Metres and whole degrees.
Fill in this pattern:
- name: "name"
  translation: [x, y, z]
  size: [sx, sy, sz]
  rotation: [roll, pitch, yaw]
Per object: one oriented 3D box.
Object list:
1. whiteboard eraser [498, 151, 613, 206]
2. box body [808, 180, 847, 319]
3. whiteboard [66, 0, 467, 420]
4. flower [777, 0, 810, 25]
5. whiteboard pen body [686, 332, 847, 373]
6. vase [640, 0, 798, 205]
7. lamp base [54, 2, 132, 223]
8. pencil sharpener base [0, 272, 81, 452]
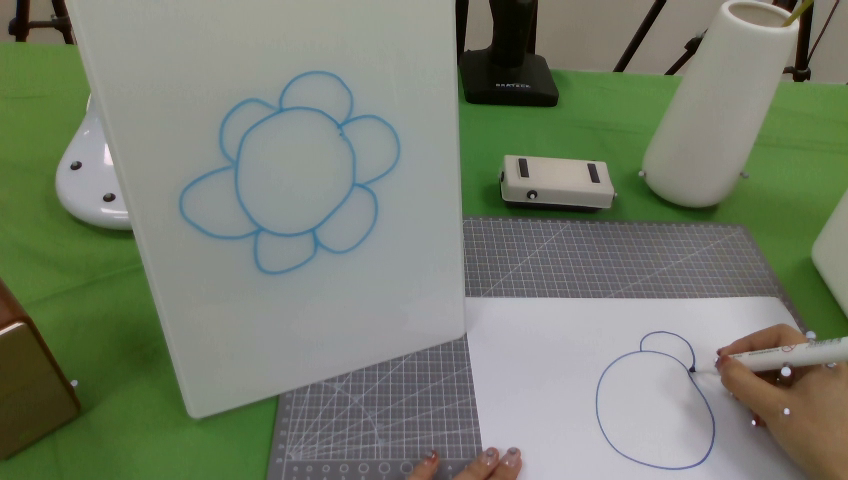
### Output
- name: "whiteboard eraser"
  translation: [0.134, -0.062, 0.629]
  size: [0.113, 0.042, 0.055]
  rotation: [2, 42, -3]
- name: "box body"
  translation: [0.503, 0.075, 0.447]
  size: [0.254, 0.162, 0.360]
  rotation: [2, 44, -4]
- name: "whiteboard"
  translation: [-0.098, -0.060, 0.449]
  size: [0.218, 0.307, 0.142]
  rotation: [-13, 28, -18]
- name: "flower"
  translation: [0.309, -0.181, 0.541]
  size: [0.044, 0.363, 0.038]
  rotation: [-18, 67, -32]
- name: "whiteboard pen body"
  translation: [0.248, 0.083, 0.436]
  size: [0.017, 0.140, 0.017]
  rotation: [10, 68, -27]
- name: "vase"
  translation: [0.292, -0.132, 0.607]
  size: [0.098, 0.201, 0.097]
  rotation: [4, 44, -4]
- name: "lamp base"
  translation: [-0.278, -0.134, 0.550]
  size: [0.178, 0.182, 0.160]
  rotation: [31, 49, 26]
- name: "pencil sharpener base"
  translation: [-0.282, 0.073, 0.390]
  size: [0.076, 0.108, 0.061]
  rotation: [36, 52, 27]
